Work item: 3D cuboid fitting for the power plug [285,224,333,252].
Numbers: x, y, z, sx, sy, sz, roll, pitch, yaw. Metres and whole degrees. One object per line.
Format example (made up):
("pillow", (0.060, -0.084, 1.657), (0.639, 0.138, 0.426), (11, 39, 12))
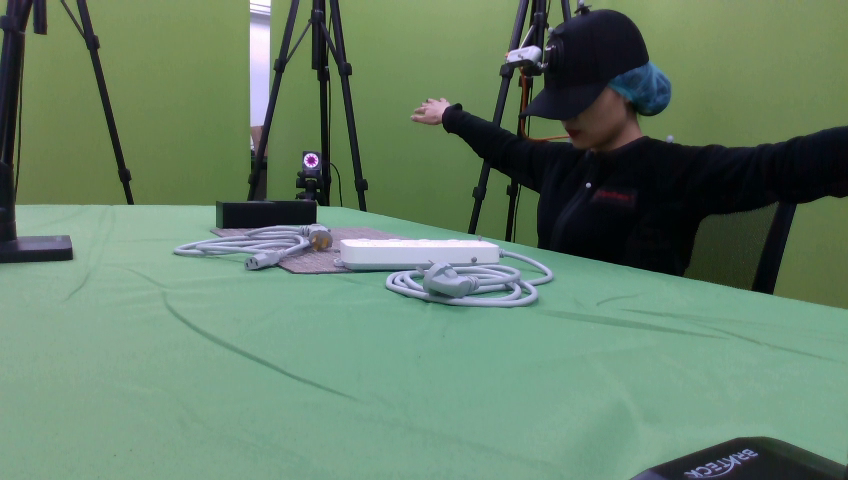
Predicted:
("power plug", (-0.171, 0.000, 0.898), (0.072, 0.035, 0.052), (-11, 31, 7))

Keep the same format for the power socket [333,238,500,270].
("power socket", (-0.005, 0.018, 0.798), (0.227, 0.032, 0.072), (1, 8, -17))
